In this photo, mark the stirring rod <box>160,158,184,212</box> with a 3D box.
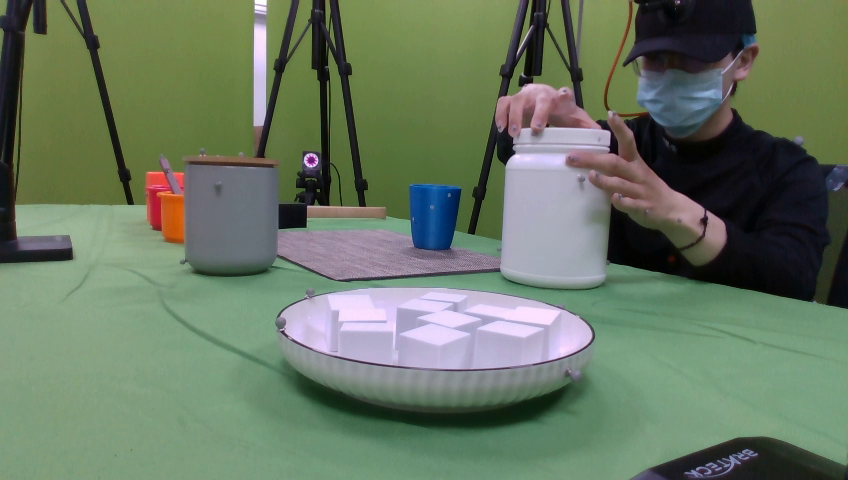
[{"bbox_3d":[-0.390,-0.070,0.972,0.014,0.006,0.175,-1,49,-49],"label":"stirring rod"}]

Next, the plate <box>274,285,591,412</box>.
[{"bbox_3d":[0.005,0.069,0.408,0.208,0.039,0.207,2,7,0],"label":"plate"}]

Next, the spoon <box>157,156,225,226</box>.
[{"bbox_3d":[-0.425,-0.094,1.117,0.041,0.022,0.194,5,51,29],"label":"spoon"}]

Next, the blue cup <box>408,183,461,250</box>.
[{"bbox_3d":[0.015,-0.038,0.969,0.093,0.100,0.092,3,9,0],"label":"blue cup"}]

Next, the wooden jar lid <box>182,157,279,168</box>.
[{"bbox_3d":[-0.227,-0.086,0.714,0.108,0.020,0.108,0,6,0],"label":"wooden jar lid"}]

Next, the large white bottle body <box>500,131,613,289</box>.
[{"bbox_3d":[0.163,-0.041,0.744,0.131,0.184,0.130,2,7,0],"label":"large white bottle body"}]

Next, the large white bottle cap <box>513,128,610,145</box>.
[{"bbox_3d":[0.166,-0.124,0.732,0.115,0.018,0.115,2,7,0],"label":"large white bottle cap"}]

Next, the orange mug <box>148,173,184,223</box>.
[{"bbox_3d":[-0.490,-0.087,1.222,0.127,0.101,0.083,-9,13,-38],"label":"orange mug"}]

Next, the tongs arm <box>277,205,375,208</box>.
[{"bbox_3d":[-0.288,-0.070,1.435,0.389,0.027,0.028,1,0,-18],"label":"tongs arm"}]

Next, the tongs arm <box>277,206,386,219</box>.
[{"bbox_3d":[-0.252,-0.062,1.360,0.387,0.026,0.050,-1,4,-31],"label":"tongs arm"}]

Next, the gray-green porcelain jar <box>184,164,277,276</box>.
[{"bbox_3d":[-0.230,-0.025,0.722,0.106,0.126,0.106,3,7,0],"label":"gray-green porcelain jar"}]
